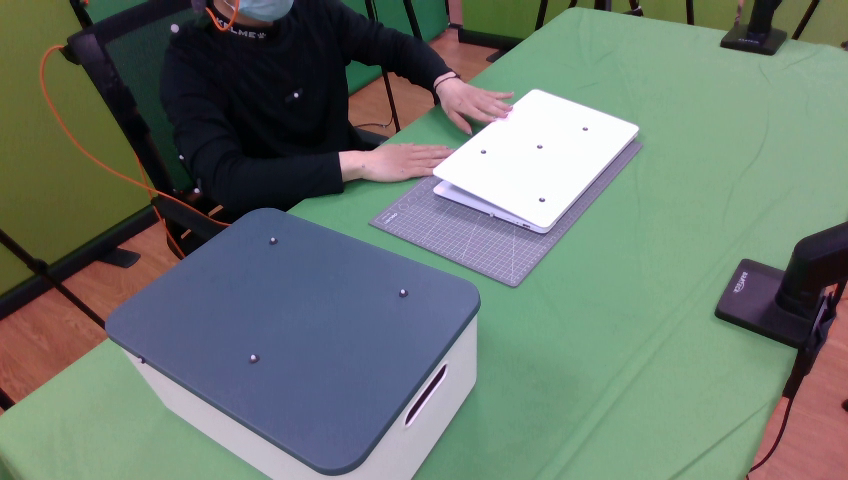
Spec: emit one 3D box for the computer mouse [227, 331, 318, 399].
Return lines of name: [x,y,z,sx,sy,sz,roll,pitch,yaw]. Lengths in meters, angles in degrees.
computer mouse: [-0.201,0.159,0.804,0.118,0.041,0.062,-29,40,-33]

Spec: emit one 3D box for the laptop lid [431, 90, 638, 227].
laptop lid: [0.207,-0.165,1.091,0.240,0.013,0.358,30,52,27]

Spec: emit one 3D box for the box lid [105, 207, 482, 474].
box lid: [-0.149,0.079,0.677,0.369,0.015,0.264,20,46,28]

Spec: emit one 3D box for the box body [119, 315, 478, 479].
box body: [-0.140,0.136,0.725,0.361,0.161,0.254,19,47,28]

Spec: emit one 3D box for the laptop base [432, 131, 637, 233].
laptop base: [0.210,-0.142,1.111,0.233,0.023,0.355,21,48,33]

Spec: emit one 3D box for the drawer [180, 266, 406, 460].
drawer: [-0.162,0.145,0.771,0.210,0.073,0.195,22,46,32]

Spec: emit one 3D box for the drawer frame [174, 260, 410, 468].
drawer frame: [-0.163,0.143,0.768,0.212,0.083,0.202,24,50,29]
